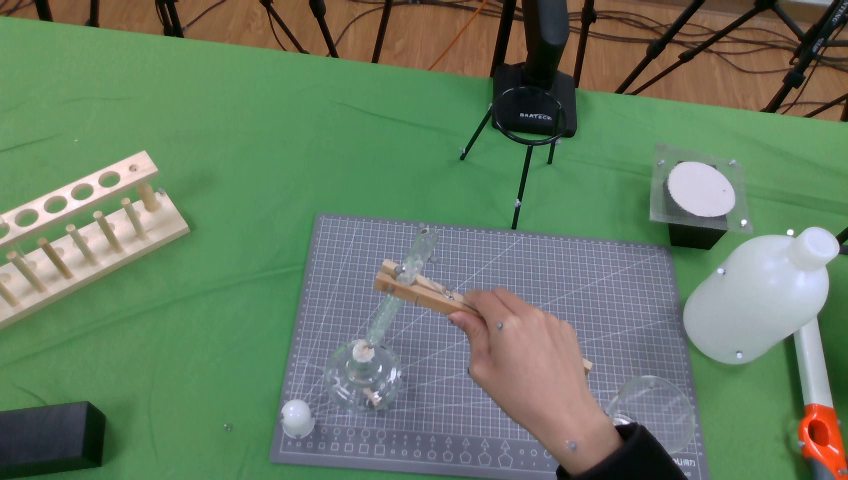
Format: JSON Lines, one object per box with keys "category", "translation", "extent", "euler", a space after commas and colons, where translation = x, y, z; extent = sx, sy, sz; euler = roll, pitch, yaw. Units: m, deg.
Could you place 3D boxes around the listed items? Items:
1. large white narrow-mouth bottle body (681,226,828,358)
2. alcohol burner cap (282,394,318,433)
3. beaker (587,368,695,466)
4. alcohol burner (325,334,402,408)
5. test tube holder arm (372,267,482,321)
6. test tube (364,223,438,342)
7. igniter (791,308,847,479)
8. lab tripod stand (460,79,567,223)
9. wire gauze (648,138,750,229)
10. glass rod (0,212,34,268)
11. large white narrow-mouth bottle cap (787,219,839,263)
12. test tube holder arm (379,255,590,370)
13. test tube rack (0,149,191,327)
{"category": "large white narrow-mouth bottle body", "translation": [0.357, 0.047, 0.641], "extent": [0.102, 0.196, 0.101], "euler": [2, 59, -3]}
{"category": "alcohol burner cap", "translation": [-0.125, 0.172, 0.604], "extent": [0.034, 0.048, 0.033], "euler": [2, 60, -3]}
{"category": "beaker", "translation": [0.206, 0.179, 0.599], "extent": [0.084, 0.101, 0.073], "euler": [2, 58, -3]}
{"category": "alcohol burner", "translation": [-0.059, 0.123, 0.598], "extent": [0.078, 0.120, 0.077], "euler": [4, 58, -6]}
{"category": "test tube holder arm", "translation": [0.003, 0.042, 0.470], "extent": [0.088, 0.015, 0.010], "euler": [19, 46, -1]}
{"category": "test tube", "translation": [-0.022, 0.040, 0.484], "extent": [0.017, 0.151, 0.017], "euler": [14, 46, -14]}
{"category": "igniter", "translation": [0.432, 0.186, 0.663], "extent": [0.057, 0.025, 0.274], "euler": [17, 58, -8]}
{"category": "lab tripod stand", "translation": [0.118, -0.116, 0.750], "extent": [0.148, 0.132, 0.147], "euler": [3, 60, -5]}
{"category": "wire gauze", "translation": [0.344, -0.071, 0.761], "extent": [0.121, 0.011, 0.124], "euler": [12, 58, 2]}
{"category": "glass rod", "translation": [-0.424, -0.032, 0.596], "extent": [0.008, 0.201, 0.008], "euler": [4, 50, -5]}
{"category": "large white narrow-mouth bottle cap", "translation": [0.363, 0.001, 0.568], "extent": [0.038, 0.024, 0.037], "euler": [2, 59, -4]}
{"category": "test tube holder arm", "translation": [0.046, 0.056, 0.472], "extent": [0.178, 0.015, 0.013], "euler": [25, 47, 5]}
{"category": "test tube rack", "translation": [-0.391, 0.001, 0.657], "extent": [0.242, 0.086, 0.066], "euler": [-32, 67, -22]}
